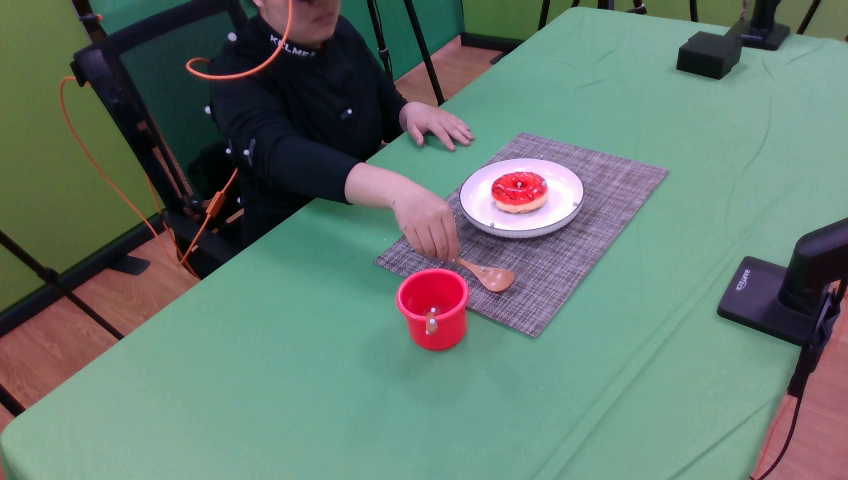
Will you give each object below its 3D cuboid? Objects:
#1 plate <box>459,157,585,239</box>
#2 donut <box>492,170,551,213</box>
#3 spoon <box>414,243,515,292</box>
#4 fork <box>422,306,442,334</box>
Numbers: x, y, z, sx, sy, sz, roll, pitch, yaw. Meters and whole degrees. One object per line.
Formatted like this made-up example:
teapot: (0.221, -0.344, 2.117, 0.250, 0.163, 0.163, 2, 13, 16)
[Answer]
plate: (0.163, -0.068, 1.015, 0.209, 0.038, 0.208, -5, 40, 5)
donut: (0.163, -0.083, 1.016, 0.099, 0.048, 0.098, -6, 37, 5)
spoon: (0.057, 0.035, 0.924, 0.192, 0.022, 0.041, 25, 67, 34)
fork: (0.010, 0.099, 0.766, 0.028, 0.018, 0.207, -10, -3, 1)
